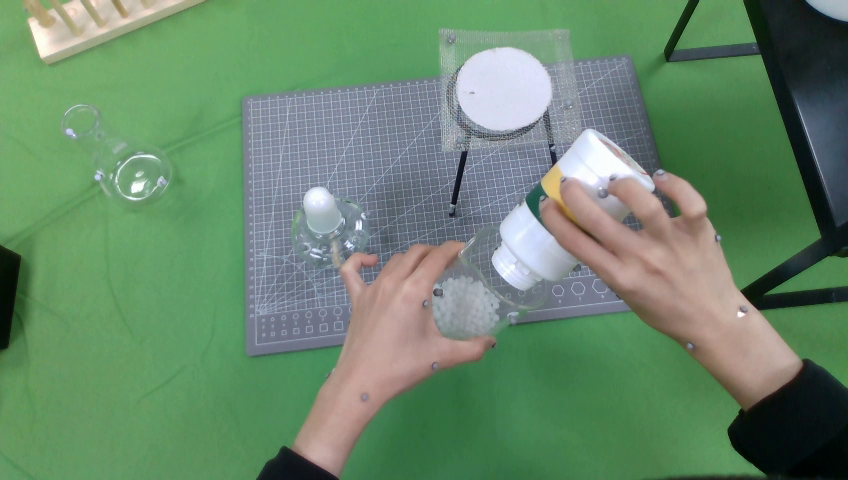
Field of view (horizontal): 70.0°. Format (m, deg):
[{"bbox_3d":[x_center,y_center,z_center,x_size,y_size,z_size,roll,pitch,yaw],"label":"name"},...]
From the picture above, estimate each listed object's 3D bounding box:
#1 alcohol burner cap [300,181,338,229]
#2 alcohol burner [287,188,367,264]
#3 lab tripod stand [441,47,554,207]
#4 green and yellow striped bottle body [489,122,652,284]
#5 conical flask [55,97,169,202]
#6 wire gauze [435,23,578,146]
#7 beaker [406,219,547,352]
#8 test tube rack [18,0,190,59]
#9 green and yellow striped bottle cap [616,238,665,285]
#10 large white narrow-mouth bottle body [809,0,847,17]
[{"bbox_3d":[-0.097,-0.035,0.546,0.034,0.048,0.033,1,63,-1],"label":"alcohol burner cap"},{"bbox_3d":[-0.095,-0.021,0.580,0.078,0.120,0.077,0,69,0],"label":"alcohol burner"},{"bbox_3d":[0.066,-0.114,0.599,0.148,0.132,0.147,0,69,0],"label":"lab tripod stand"},{"bbox_3d":[0.100,-0.021,0.441,0.063,0.063,0.120,48,115,16],"label":"green and yellow striped bottle body"},{"bbox_3d":[-0.316,-0.094,0.609,0.075,0.122,0.075,0,70,2],"label":"conical flask"},{"bbox_3d":[0.072,-0.142,0.537,0.121,0.011,0.124,-1,71,-1],"label":"wire gauze"},{"bbox_3d":[0.036,0.040,0.489,0.084,0.100,0.073,16,48,-29],"label":"beaker"},{"bbox_3d":[-0.360,-0.307,0.704,0.242,0.086,0.066,-26,72,-8],"label":"test tube rack"},{"bbox_3d":[0.218,0.021,0.610,0.045,0.020,0.045,-1,70,3],"label":"green and yellow striped bottle cap"},{"bbox_3d":[0.354,-0.259,0.424,0.102,0.196,0.101,0,68,1],"label":"large white narrow-mouth bottle body"}]
